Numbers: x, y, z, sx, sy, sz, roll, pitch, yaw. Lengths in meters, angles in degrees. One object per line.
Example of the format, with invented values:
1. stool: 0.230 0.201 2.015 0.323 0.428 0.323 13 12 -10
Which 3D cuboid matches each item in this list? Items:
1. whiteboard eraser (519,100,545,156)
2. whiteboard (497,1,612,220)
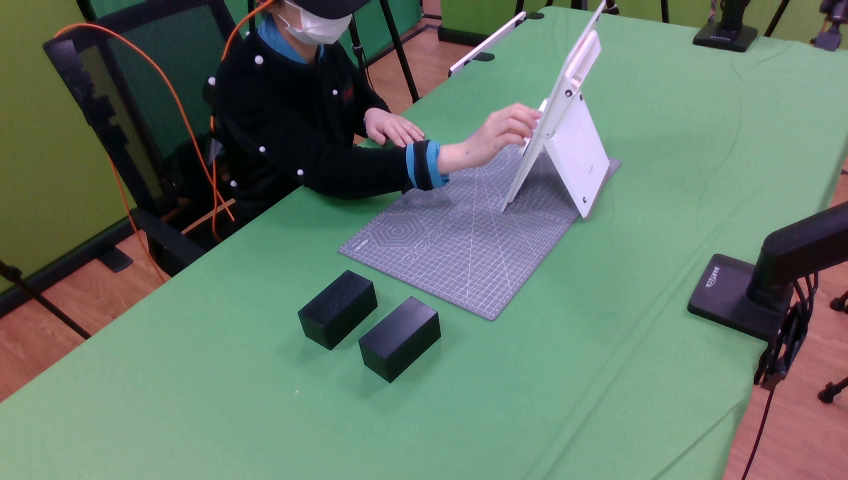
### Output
1. whiteboard eraser: 0.178 -0.179 0.972 0.019 0.041 0.101 25 81 8
2. whiteboard: 0.260 -0.177 0.963 0.143 0.306 0.217 28 48 9
